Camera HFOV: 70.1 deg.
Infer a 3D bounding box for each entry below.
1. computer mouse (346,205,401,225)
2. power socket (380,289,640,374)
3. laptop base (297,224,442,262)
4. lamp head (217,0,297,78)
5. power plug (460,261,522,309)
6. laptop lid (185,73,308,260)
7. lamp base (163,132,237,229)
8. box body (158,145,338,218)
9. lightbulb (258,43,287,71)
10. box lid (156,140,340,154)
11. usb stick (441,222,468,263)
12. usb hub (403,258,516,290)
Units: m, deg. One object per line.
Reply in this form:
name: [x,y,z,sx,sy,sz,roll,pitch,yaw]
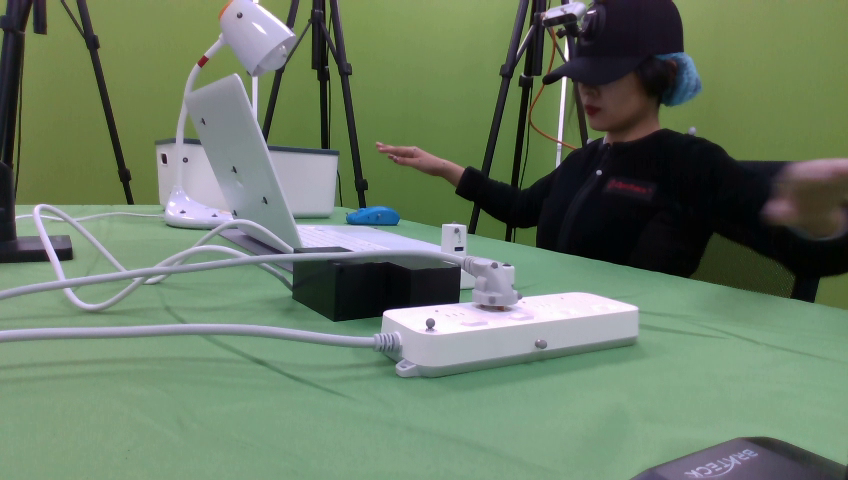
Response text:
computer mouse: [-0.112,-0.055,1.335,0.118,0.041,0.062,-5,11,-21]
power socket: [0.072,0.064,0.461,0.228,0.032,0.072,-3,7,-30]
laptop base: [-0.127,0.003,0.946,0.237,0.023,0.352,2,6,-31]
lamp head: [-0.315,-0.372,1.102,0.123,0.112,0.112,41,3,-9]
power plug: [0.043,0.043,0.444,0.035,0.052,0.073,-4,7,44]
laptop lid: [-0.262,-0.101,0.850,0.013,0.242,0.355,-26,21,-25]
lamp base: [-0.419,-0.116,1.156,0.179,0.180,0.160,0,7,0]
box body: [-0.410,-0.139,1.414,0.366,0.160,0.253,-3,9,-33]
lightbulb: [-0.295,-0.358,1.103,0.059,0.107,0.059,-37,0,0]
box lid: [-0.409,-0.213,1.404,0.373,0.015,0.262,-2,8,-32]
usb stick: [0.034,0.009,0.685,0.021,0.059,0.027,-2,10,-30]
usb hub: [0.042,0.038,0.690,0.126,0.025,0.049,-2,9,-30]
